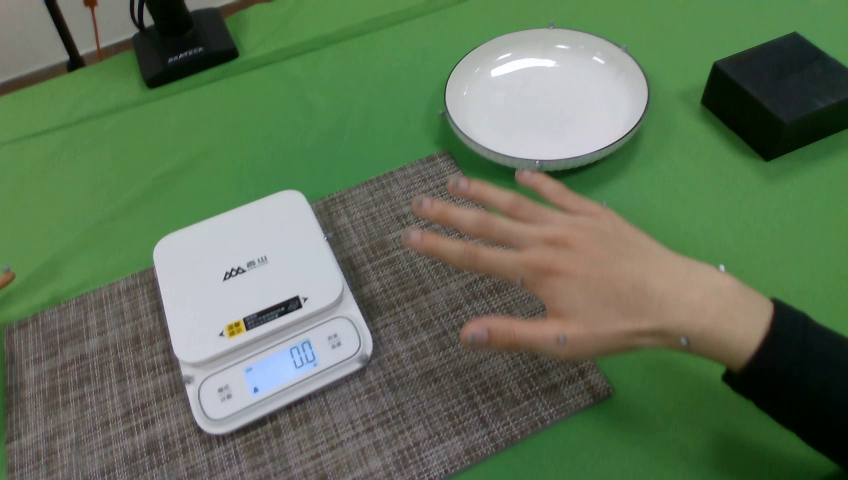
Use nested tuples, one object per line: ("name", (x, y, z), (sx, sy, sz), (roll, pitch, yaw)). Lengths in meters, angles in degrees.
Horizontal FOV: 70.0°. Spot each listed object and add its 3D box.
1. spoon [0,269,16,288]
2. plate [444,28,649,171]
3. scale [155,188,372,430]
("spoon", (-0.440, 0.087, 0.517), (0.193, 0.022, 0.041), (-40, 58, -12))
("plate", (0.125, -0.145, 0.637), (0.207, 0.039, 0.205), (-4, 53, 5))
("scale", (-0.144, 0.049, 0.526), (0.149, 0.032, 0.198), (-24, 55, -10))
